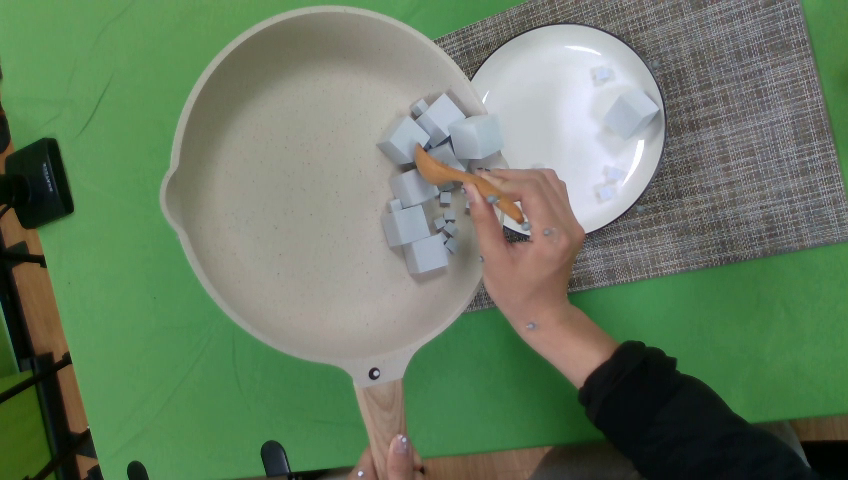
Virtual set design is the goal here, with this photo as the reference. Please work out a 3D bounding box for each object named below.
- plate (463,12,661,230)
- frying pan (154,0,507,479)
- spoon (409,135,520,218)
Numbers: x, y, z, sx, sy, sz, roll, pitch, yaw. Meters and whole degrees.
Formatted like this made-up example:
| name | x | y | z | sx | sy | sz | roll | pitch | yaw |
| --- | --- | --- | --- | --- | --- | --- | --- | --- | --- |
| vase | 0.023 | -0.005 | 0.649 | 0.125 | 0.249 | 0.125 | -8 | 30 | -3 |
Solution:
| name | x | y | z | sx | sy | sz | roll | pitch | yaw |
| --- | --- | --- | --- | --- | --- | --- | --- | --- | --- |
| plate | 0.127 | -0.114 | 0.603 | 0.206 | 0.039 | 0.208 | 3 | 98 | 23 |
| frying pan | -0.053 | 0.055 | 0.517 | 0.102 | 0.308 | 0.487 | -14 | 84 | 61 |
| spoon | 0.026 | -0.052 | 0.476 | 0.021 | 0.192 | 0.042 | -31 | 118 | -13 |
